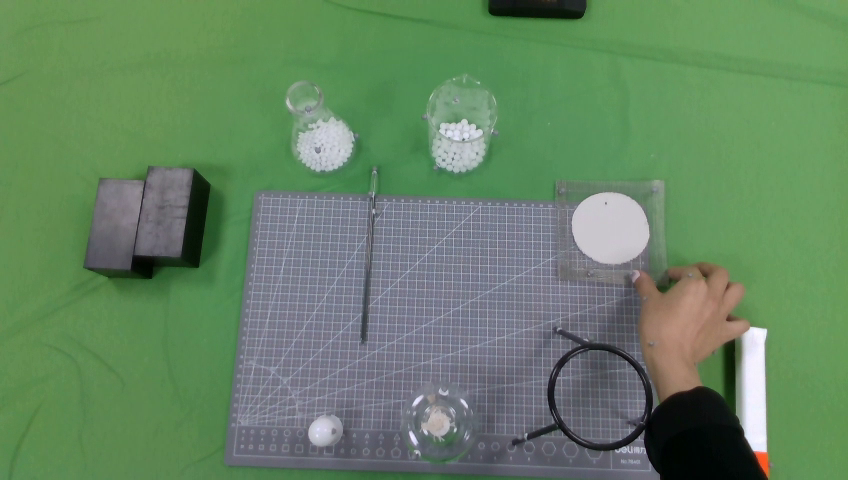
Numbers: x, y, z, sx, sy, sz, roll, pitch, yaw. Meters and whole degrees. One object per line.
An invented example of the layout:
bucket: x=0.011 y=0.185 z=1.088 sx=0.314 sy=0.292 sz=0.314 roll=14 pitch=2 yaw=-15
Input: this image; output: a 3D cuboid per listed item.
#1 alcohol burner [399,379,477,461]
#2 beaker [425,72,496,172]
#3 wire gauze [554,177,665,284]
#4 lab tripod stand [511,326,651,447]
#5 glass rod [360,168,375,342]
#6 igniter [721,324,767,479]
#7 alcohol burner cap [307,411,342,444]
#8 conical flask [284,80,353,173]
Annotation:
alcohol burner: x=0.013 y=0.174 z=0.585 sx=0.078 sy=0.119 sz=0.077 roll=0 pitch=77 yaw=1
beaker: x=0.038 y=-0.125 z=0.669 sx=0.074 sy=0.101 sz=0.083 roll=4 pitch=75 yaw=1
wire gauze: x=0.210 y=-0.013 z=0.687 sx=0.125 sy=0.011 sz=0.121 roll=3 pitch=79 yaw=2
lab tripod stand: x=0.148 y=0.150 z=0.581 sx=0.148 sy=0.132 sz=0.147 roll=0 pitch=78 yaw=0
glass rod: x=-0.063 y=0.013 z=0.677 sx=0.008 sy=0.008 sz=0.198 roll=2 pitch=76 yaw=0
igniter: x=0.331 y=0.224 z=0.621 sx=0.057 sy=0.025 sz=0.275 roll=9 pitch=76 yaw=-9
alcohol burner cap: x=-0.103 y=0.192 z=0.617 sx=0.034 sy=0.048 sz=0.033 roll=0 pitch=76 yaw=0
conical flask: x=-0.121 y=-0.127 z=0.657 sx=0.075 sy=0.122 sz=0.075 roll=0 pitch=75 yaw=0
